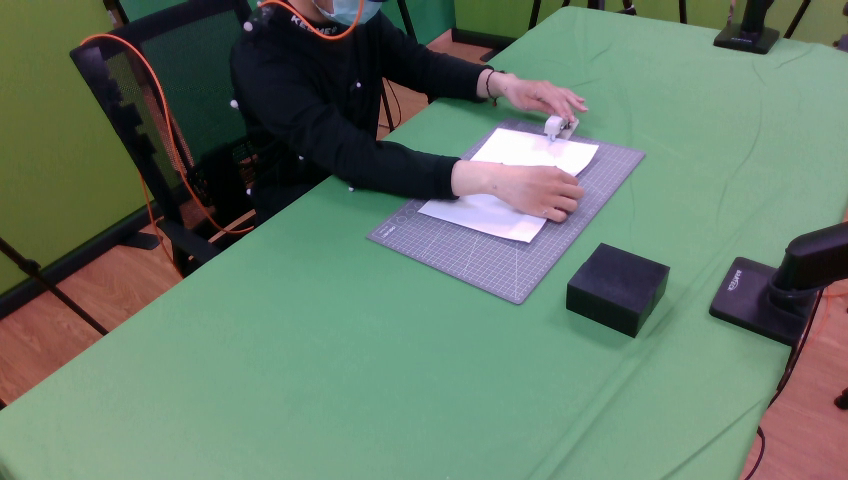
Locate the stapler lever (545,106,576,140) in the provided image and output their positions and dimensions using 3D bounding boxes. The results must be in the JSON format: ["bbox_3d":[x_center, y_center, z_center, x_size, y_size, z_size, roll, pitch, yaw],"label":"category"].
[{"bbox_3d":[0.263,-0.233,1.159,0.026,0.040,0.118,17,44,24],"label":"stapler lever"}]

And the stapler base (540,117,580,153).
[{"bbox_3d":[0.265,-0.213,1.174,0.041,0.024,0.131,17,44,24],"label":"stapler base"}]
